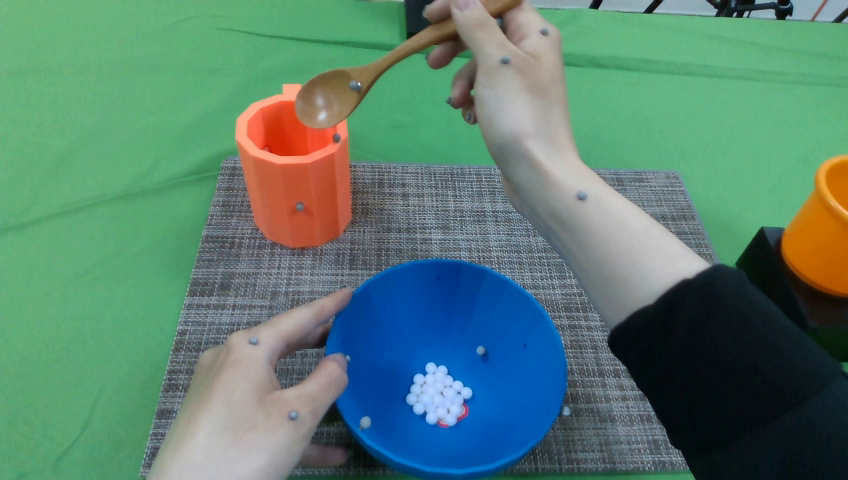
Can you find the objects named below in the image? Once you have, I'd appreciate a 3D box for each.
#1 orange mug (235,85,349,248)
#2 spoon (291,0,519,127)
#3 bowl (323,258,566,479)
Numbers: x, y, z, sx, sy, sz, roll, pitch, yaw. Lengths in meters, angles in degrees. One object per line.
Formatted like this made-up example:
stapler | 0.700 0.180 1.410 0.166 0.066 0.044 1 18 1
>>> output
orange mug | -0.110 -0.071 0.516 0.083 0.101 0.125 -4 55 -9
spoon | -0.017 -0.121 0.397 0.022 0.193 0.041 -14 87 -54
bowl | 0.011 0.094 0.401 0.151 0.077 0.150 3 49 -3
